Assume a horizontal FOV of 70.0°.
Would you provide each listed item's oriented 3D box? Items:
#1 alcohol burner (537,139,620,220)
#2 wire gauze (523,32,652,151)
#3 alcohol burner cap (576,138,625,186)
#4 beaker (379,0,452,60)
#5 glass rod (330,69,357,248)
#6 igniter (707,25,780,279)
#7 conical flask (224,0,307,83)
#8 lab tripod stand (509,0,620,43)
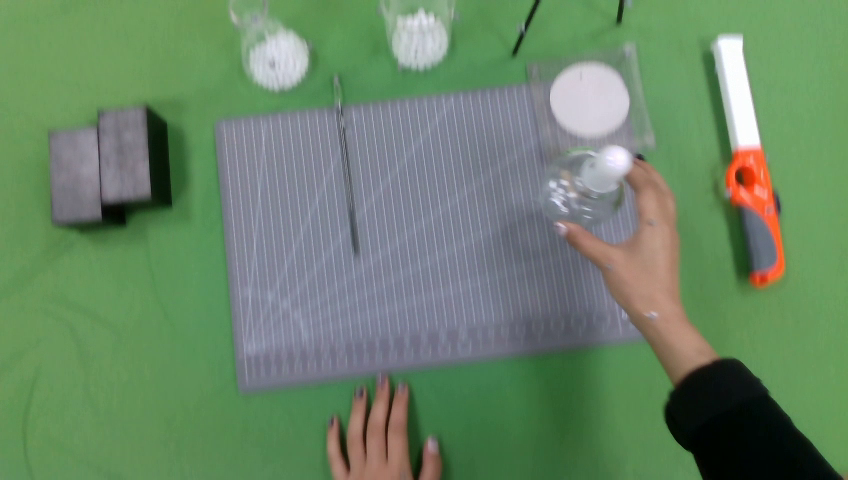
[{"bbox_3d":[0.146,-0.059,0.545,0.078,0.119,0.077,2,79,-9],"label":"alcohol burner"},{"bbox_3d":[0.179,-0.162,0.664,0.125,0.011,0.121,-8,83,-2],"label":"wire gauze"},{"bbox_3d":[0.151,-0.068,0.511,0.034,0.048,0.033,1,75,-4],"label":"alcohol burner cap"},{"bbox_3d":[-0.010,-0.241,0.629,0.074,0.100,0.083,-5,81,-1],"label":"beaker"},{"bbox_3d":[-0.087,-0.089,0.650,0.008,0.008,0.199,-8,83,-2],"label":"glass rod"},{"bbox_3d":[0.342,-0.097,0.649,0.057,0.025,0.275,-4,83,-11],"label":"igniter"},{"bbox_3d":[-0.166,-0.216,0.612,0.075,0.122,0.075,0,82,0],"label":"conical flask"},{"bbox_3d":[0.145,-0.280,0.618,0.148,0.131,0.148,0,84,-1],"label":"lab tripod stand"}]
